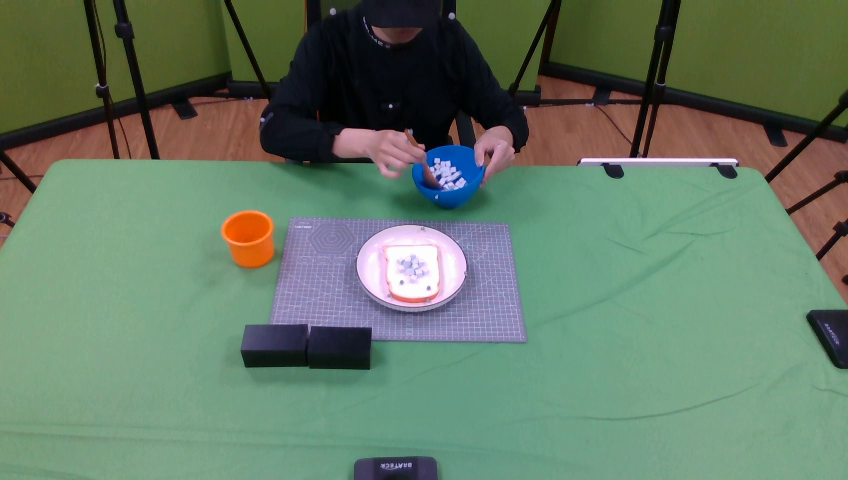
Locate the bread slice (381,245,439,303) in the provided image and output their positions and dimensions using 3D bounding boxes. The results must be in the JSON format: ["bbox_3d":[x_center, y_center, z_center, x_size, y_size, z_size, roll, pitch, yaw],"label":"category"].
[{"bbox_3d":[-0.022,0.061,1.126,0.107,0.018,0.133,-3,45,-8],"label":"bread slice"}]

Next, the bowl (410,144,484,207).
[{"bbox_3d":[0.052,-0.122,1.256,0.151,0.077,0.150,-6,46,7],"label":"bowl"}]

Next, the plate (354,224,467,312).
[{"bbox_3d":[-0.025,0.055,1.128,0.209,0.038,0.208,3,46,-2],"label":"plate"}]

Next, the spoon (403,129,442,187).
[{"bbox_3d":[-0.005,-0.158,1.192,0.041,0.195,0.021,21,68,30],"label":"spoon"}]
